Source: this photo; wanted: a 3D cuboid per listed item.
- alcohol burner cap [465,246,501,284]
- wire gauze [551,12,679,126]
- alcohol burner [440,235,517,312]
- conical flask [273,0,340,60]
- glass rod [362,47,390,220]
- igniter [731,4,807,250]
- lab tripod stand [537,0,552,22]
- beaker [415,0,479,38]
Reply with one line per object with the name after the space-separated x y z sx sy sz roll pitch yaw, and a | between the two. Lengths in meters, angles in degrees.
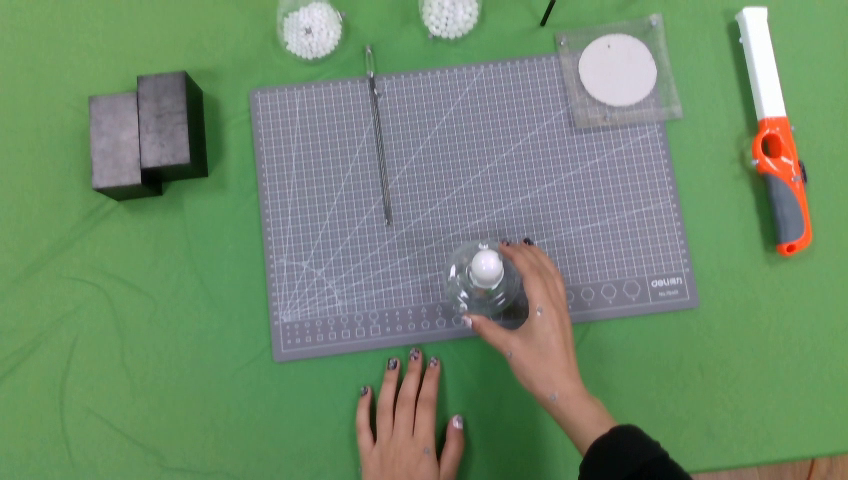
0.054 0.020 0.553 0.034 0.048 0.033 -1 77 3 | alcohol burner cap
0.214 -0.190 0.677 0.125 0.011 0.121 -8 81 -2 | wire gauze
0.055 0.030 0.588 0.078 0.119 0.077 0 79 -2 | alcohol burner
-0.131 -0.246 0.628 0.075 0.122 0.075 0 80 0 | conical flask
-0.053 -0.119 0.663 0.008 0.008 0.199 -8 81 -2 | glass rod
0.376 -0.126 0.661 0.057 0.025 0.275 -4 81 -11 | igniter
0.179 -0.310 0.634 0.148 0.132 0.148 0 83 0 | lab tripod stand
0.024 -0.271 0.645 0.074 0.100 0.083 -5 80 -1 | beaker
